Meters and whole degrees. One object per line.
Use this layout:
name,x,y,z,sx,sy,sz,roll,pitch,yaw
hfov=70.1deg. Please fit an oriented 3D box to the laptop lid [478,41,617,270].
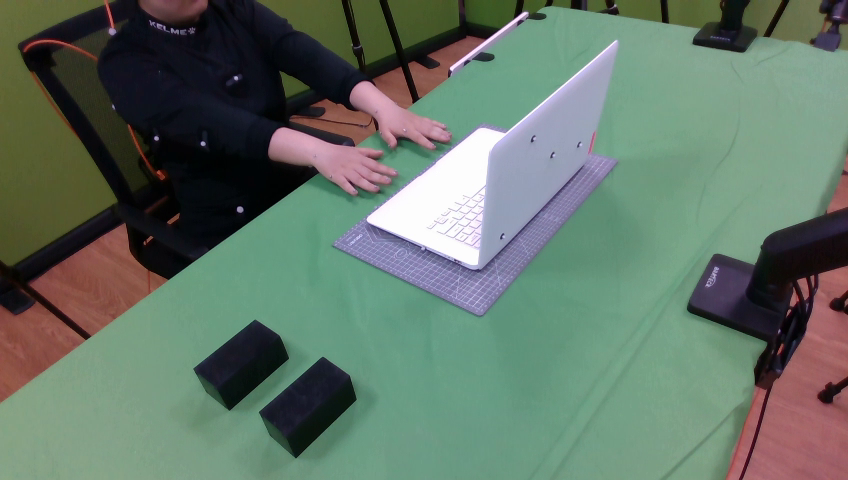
laptop lid,0.190,-0.130,0.913,0.013,0.242,0.358,29,50,26

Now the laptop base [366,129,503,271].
laptop base,0.098,-0.086,1.058,0.233,0.023,0.355,21,48,34
